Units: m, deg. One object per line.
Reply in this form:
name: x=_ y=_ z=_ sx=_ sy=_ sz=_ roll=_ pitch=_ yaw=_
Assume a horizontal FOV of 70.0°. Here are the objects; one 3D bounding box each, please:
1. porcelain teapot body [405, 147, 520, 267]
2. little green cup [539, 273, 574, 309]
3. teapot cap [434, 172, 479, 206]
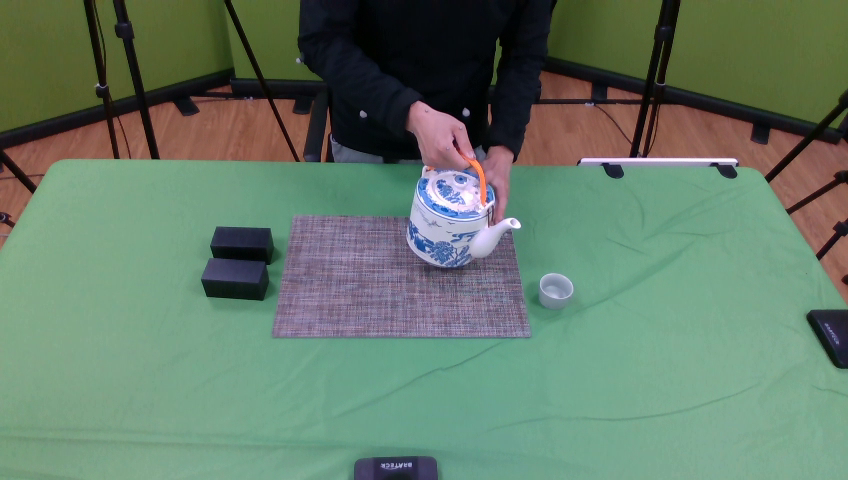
porcelain teapot body: x=0.074 y=-0.051 z=1.075 sx=0.205 sy=0.226 sz=0.145 roll=33 pitch=49 yaw=17
little green cup: x=0.241 y=0.096 z=1.113 sx=0.061 sy=0.039 sz=0.061 roll=2 pitch=47 yaw=-2
teapot cap: x=0.059 y=-0.092 z=1.054 sx=0.085 sy=0.044 sz=0.084 roll=4 pitch=50 yaw=-5
